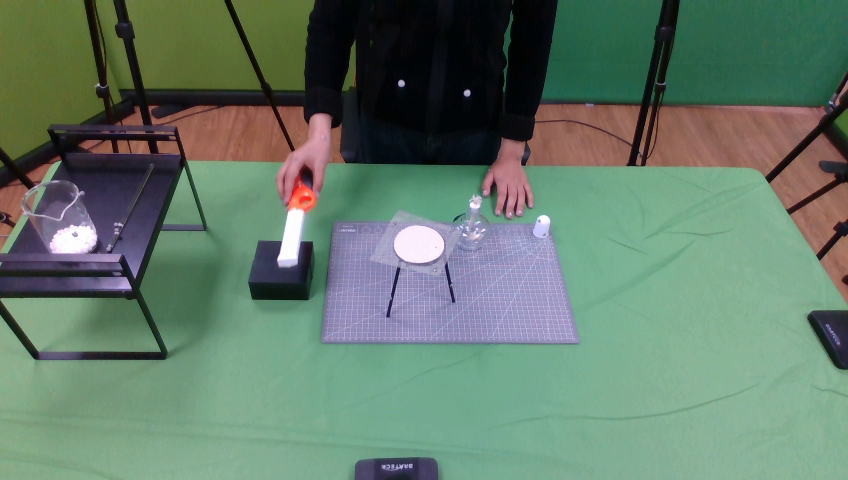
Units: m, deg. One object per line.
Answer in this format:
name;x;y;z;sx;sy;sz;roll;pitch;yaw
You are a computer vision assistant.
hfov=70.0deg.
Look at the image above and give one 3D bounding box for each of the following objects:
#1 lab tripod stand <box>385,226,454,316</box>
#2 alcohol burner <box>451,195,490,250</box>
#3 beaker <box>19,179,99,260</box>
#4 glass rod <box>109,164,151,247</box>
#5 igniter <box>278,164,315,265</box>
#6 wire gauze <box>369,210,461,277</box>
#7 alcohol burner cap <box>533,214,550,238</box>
lab tripod stand;-0.014;0.054;1.064;0.148;0.132;0.147;2;48;-3
alcohol burner;0.092;-0.038;1.175;0.078;0.120;0.077;2;45;-2
beaker;-0.522;-0.024;0.878;0.074;0.101;0.083;-26;54;-25
glass rod;-0.473;-0.061;0.979;0.008;0.008;0.198;1;46;-3
igniter;-0.230;-0.056;1.100;0.057;0.025;0.274;-3;41;0
wire gauze;-0.013;0.005;1.017;0.121;0.011;0.124;17;49;12
alcohol burner cap;0.240;-0.031;1.228;0.034;0.048;0.033;1;46;-1
